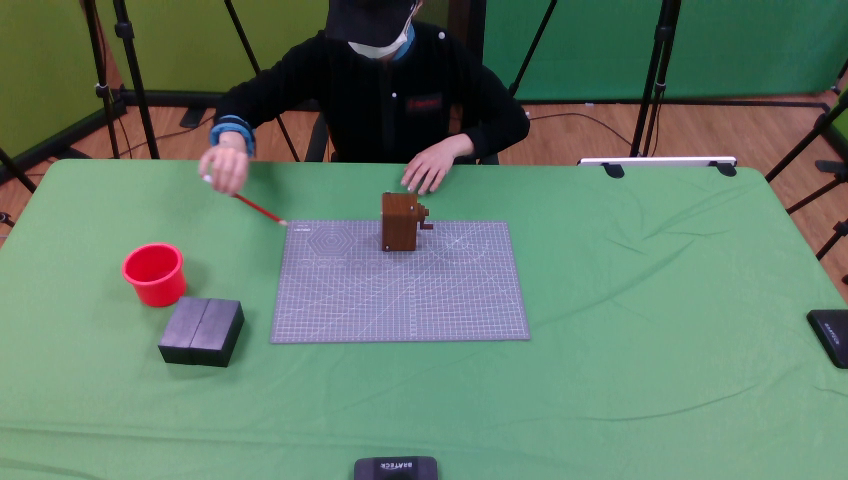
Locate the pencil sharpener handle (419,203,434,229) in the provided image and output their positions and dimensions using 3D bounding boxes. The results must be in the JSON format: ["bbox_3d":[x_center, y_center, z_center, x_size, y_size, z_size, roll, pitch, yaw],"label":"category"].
[{"bbox_3d":[0.006,-0.045,1.160,0.031,0.068,0.036,0,52,-4],"label":"pencil sharpener handle"}]

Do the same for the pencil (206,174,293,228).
[{"bbox_3d":[-0.313,-0.069,1.082,0.193,0.012,0.012,30,51,11],"label":"pencil"}]

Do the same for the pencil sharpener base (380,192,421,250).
[{"bbox_3d":[-0.046,-0.035,1.163,0.077,0.107,0.061,0,46,-4],"label":"pencil sharpener base"}]
